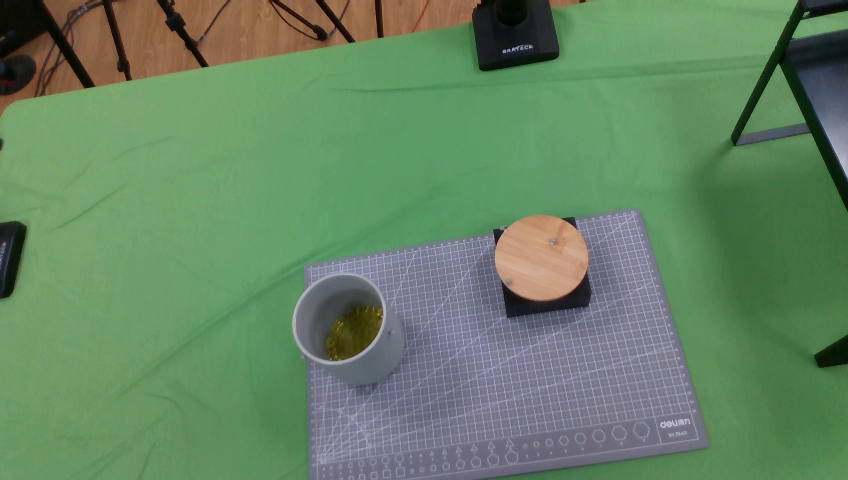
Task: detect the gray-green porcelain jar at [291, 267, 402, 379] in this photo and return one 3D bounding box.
[{"bbox_3d":[-0.084,0.102,0.706,0.106,0.127,0.105,-3,66,8],"label":"gray-green porcelain jar"}]

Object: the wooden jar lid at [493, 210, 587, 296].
[{"bbox_3d":[0.136,0.017,0.711,0.108,0.021,0.107,-4,67,8],"label":"wooden jar lid"}]
